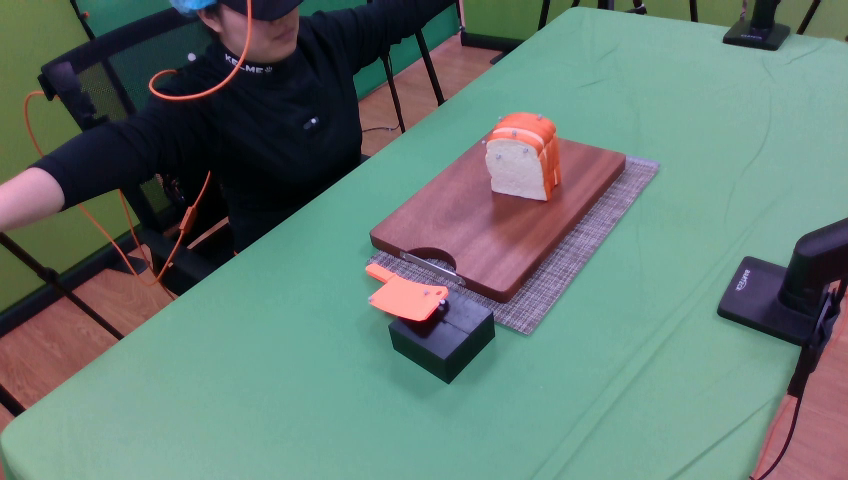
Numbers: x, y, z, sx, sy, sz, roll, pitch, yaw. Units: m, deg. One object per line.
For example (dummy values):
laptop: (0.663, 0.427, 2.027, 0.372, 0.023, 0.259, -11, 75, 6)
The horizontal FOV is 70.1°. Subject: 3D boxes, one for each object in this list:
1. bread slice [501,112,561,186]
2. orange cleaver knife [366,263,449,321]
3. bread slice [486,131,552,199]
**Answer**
bread slice: (0.176, -0.150, 1.002, 0.106, 0.135, 0.018, 16, 51, 23)
orange cleaver knife: (-0.042, 0.072, 0.870, 0.077, 0.012, 0.209, -37, 28, -23)
bread slice: (0.149, -0.119, 0.973, 0.104, 0.132, 0.019, 11, 54, 27)
